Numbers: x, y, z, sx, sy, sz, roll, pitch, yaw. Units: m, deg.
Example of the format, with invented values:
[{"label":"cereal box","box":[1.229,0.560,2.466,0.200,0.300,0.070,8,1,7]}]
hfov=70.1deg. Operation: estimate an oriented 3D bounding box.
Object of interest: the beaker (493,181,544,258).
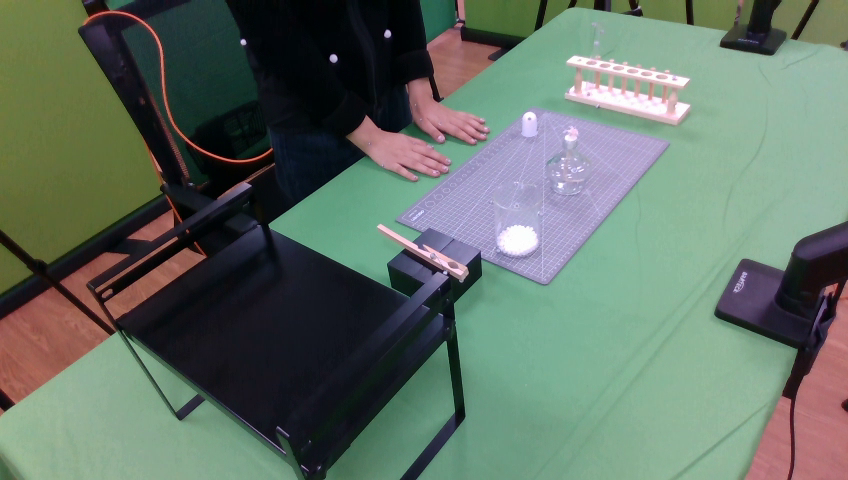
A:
[{"label":"beaker","box":[0.145,-0.030,0.925,0.074,0.101,0.084,6,41,16]}]

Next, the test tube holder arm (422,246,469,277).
[{"label":"test tube holder arm","box":[0.028,0.031,0.864,0.087,0.015,0.010,25,49,34]}]

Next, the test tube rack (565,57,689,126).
[{"label":"test tube rack","box":[0.411,-0.311,1.230,0.240,0.085,0.067,23,49,32]}]

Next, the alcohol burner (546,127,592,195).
[{"label":"alcohol burner","box":[0.246,-0.137,1.023,0.078,0.119,0.077,-4,38,4]}]

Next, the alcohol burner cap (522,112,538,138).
[{"label":"alcohol burner cap","box":[0.210,-0.230,1.195,0.034,0.048,0.033,-5,41,5]}]

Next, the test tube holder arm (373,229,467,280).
[{"label":"test tube holder arm","box":[-0.010,0.019,0.885,0.177,0.015,0.013,23,48,33]}]

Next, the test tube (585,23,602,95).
[{"label":"test tube","box":[0.342,-0.364,1.226,0.017,0.151,0.017,-2,42,2]}]
